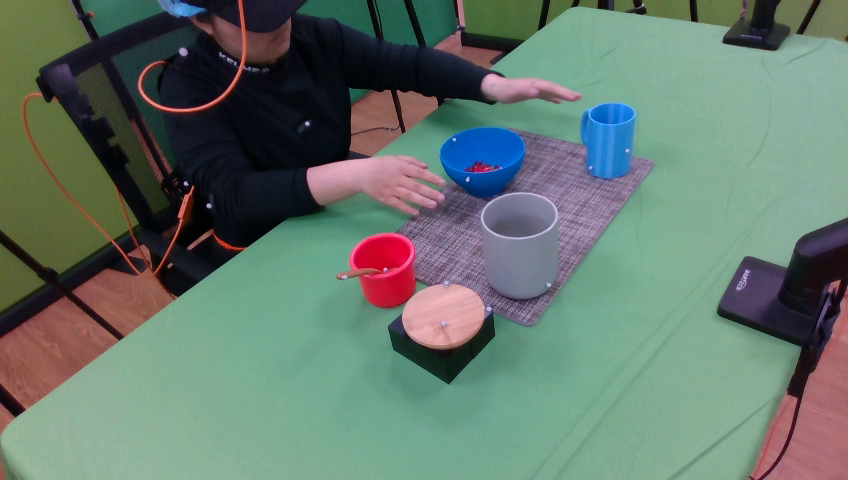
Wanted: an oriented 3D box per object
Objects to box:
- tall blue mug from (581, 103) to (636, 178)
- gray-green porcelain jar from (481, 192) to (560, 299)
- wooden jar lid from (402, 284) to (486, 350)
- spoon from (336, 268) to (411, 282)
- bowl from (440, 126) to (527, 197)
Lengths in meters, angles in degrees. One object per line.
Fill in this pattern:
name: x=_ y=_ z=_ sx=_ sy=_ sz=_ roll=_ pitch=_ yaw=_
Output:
tall blue mug: x=0.313 y=-0.178 z=1.062 sx=0.106 sy=0.108 sz=0.078 roll=21 pitch=50 yaw=31
gray-green porcelain jar: x=0.138 y=0.012 z=0.858 sx=0.106 sy=0.127 sz=0.105 roll=-6 pitch=40 yaw=5
wooden jar lid: x=0.026 y=0.101 z=0.786 sx=0.108 sy=0.021 sz=0.108 roll=-5 pitch=39 yaw=4
spoon: x=-0.071 y=0.047 z=0.850 sx=0.041 sy=0.195 sz=0.021 roll=18 pitch=93 yaw=24
bowl: x=0.107 y=-0.130 z=1.070 sx=0.151 sy=0.077 sz=0.150 roll=-5 pitch=40 yaw=5
